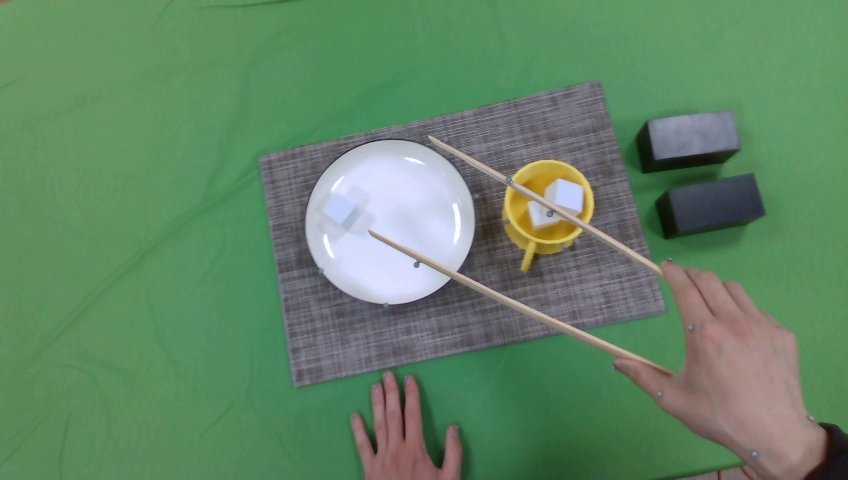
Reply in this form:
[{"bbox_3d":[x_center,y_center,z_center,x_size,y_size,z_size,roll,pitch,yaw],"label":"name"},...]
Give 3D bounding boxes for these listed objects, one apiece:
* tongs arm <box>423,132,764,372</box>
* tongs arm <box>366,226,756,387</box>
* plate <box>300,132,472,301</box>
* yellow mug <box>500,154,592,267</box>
[{"bbox_3d":[0.130,-0.007,0.562,0.381,0.027,0.051,33,87,31],"label":"tongs arm"},{"bbox_3d":[0.095,0.050,0.560,0.384,0.028,0.028,22,78,31],"label":"tongs arm"},{"bbox_3d":[-0.045,-0.027,0.739,0.207,0.039,0.207,-1,80,4],"label":"plate"},{"bbox_3d":[0.136,-0.029,0.711,0.100,0.064,0.130,19,81,7],"label":"yellow mug"}]
